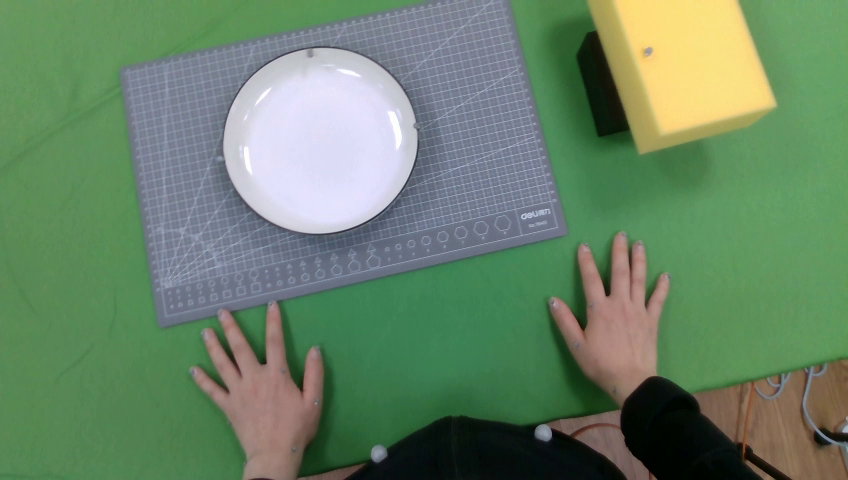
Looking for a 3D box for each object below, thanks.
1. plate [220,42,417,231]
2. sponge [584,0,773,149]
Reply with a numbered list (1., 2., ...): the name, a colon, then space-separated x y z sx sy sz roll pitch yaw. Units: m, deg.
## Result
1. plate: -0.111 -0.109 0.656 0.209 0.038 0.208 0 82 0
2. sponge: 0.246 -0.209 0.610 0.118 0.061 0.206 -16 82 -2
